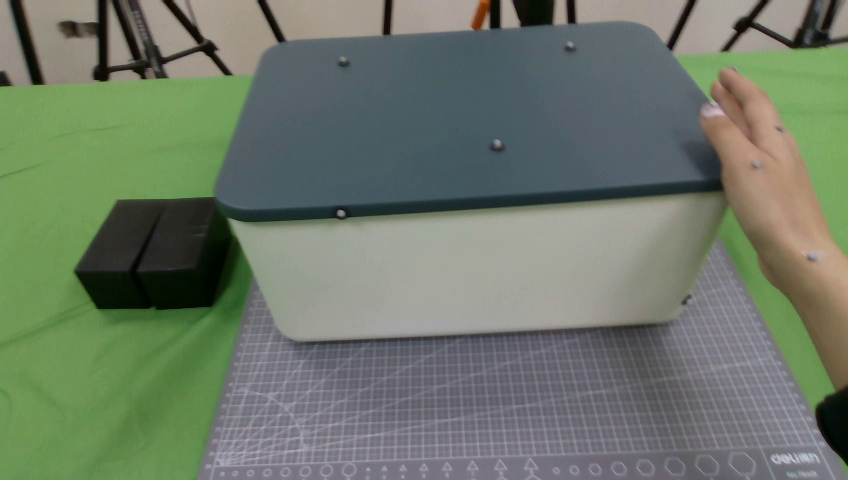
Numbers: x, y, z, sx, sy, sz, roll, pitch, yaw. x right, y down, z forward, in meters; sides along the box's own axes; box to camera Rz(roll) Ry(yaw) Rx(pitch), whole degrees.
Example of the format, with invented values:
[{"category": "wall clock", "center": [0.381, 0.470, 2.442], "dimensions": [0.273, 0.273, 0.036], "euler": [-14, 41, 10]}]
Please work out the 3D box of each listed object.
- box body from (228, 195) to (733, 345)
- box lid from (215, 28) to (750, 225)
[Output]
[{"category": "box body", "center": [0.041, -0.051, 0.543], "dimensions": [0.364, 0.162, 0.251], "euler": [-3, 42, 0]}, {"category": "box lid", "center": [0.035, -0.106, 0.493], "dimensions": [0.371, 0.015, 0.260], "euler": [-3, 41, 0]}]
